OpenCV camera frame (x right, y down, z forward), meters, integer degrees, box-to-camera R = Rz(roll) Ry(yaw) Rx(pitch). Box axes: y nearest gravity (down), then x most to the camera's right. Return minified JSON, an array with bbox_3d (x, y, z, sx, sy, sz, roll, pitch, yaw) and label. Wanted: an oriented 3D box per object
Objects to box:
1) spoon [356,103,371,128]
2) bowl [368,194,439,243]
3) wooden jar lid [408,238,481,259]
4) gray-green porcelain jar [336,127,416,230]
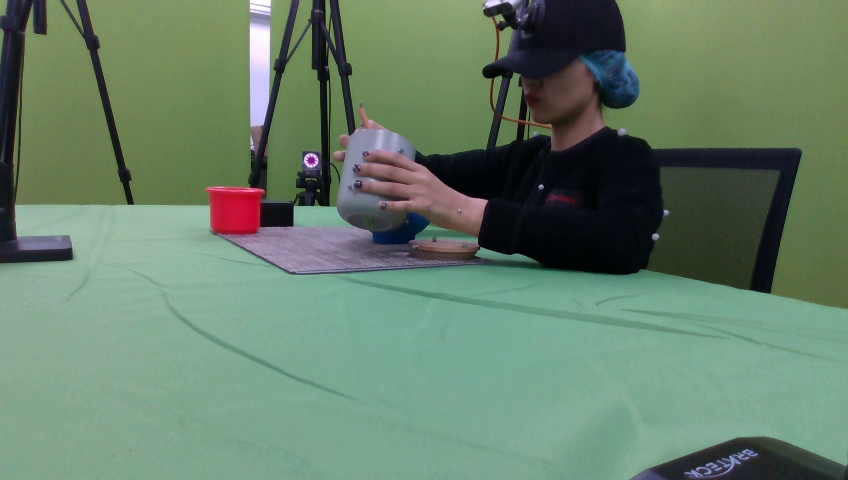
[{"bbox_3d":[-0.069,-0.126,0.912,0.022,0.193,0.041,-15,-20,-8],"label":"spoon"},{"bbox_3d":[-0.050,-0.038,1.033,0.151,0.077,0.151,3,7,0],"label":"bowl"},{"bbox_3d":[0.031,0.012,0.895,0.108,0.020,0.108,2,8,0],"label":"wooden jar lid"},{"bbox_3d":[-0.071,-0.086,0.894,0.106,0.126,0.106,6,-20,3],"label":"gray-green porcelain jar"}]
